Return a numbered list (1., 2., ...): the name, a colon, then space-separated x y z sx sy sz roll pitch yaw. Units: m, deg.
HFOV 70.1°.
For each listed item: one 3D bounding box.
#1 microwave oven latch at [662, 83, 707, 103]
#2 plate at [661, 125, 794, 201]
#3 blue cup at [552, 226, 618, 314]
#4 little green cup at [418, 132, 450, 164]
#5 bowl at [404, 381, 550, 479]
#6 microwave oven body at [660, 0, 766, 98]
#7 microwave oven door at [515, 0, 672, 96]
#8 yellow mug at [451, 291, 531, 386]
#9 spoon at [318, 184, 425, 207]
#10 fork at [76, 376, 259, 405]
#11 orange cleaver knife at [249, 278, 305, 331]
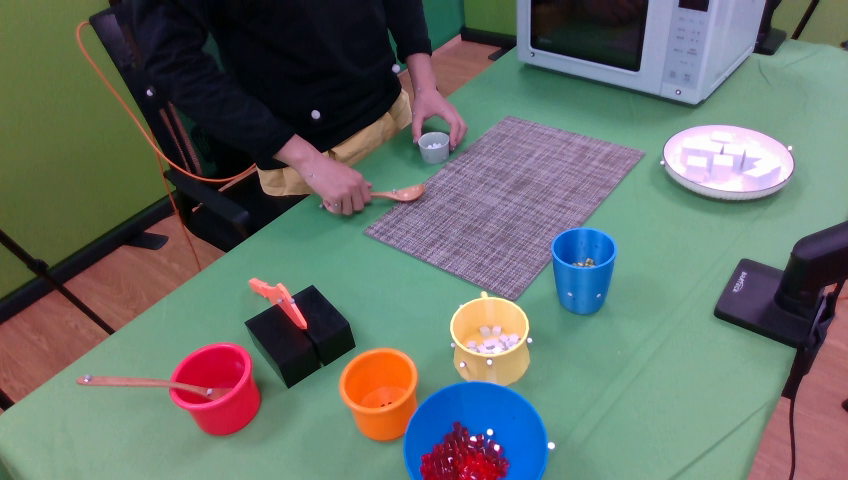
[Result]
1. microwave oven latch: 0.517 -0.296 1.204 0.078 0.029 0.030 27 52 35
2. plate: 0.513 -0.128 1.035 0.207 0.039 0.206 -4 40 4
3. blue cup: 0.217 0.047 0.825 0.092 0.100 0.092 -6 40 5
4. little green cup: 0.020 -0.177 1.168 0.061 0.039 0.061 -3 42 3
5. bowl: 0.058 0.235 0.645 0.151 0.077 0.150 -4 39 4
6. microwave oven body: 0.472 -0.513 1.317 0.438 0.261 0.327 26 51 34
7. microwave oven door: 0.343 -0.454 1.259 0.353 0.245 0.039 26 51 33
8. yellow mug: 0.085 0.120 0.786 0.100 0.064 0.130 -7 39 1
9. spoon: -0.094 -0.078 1.076 0.194 0.022 0.041 -4 52 4
10. fork: -0.295 0.176 0.716 0.209 0.018 0.028 19 27 -37
11. orange cleaver knife: -0.210 0.088 0.856 0.012 0.077 0.210 -28 15 -25
